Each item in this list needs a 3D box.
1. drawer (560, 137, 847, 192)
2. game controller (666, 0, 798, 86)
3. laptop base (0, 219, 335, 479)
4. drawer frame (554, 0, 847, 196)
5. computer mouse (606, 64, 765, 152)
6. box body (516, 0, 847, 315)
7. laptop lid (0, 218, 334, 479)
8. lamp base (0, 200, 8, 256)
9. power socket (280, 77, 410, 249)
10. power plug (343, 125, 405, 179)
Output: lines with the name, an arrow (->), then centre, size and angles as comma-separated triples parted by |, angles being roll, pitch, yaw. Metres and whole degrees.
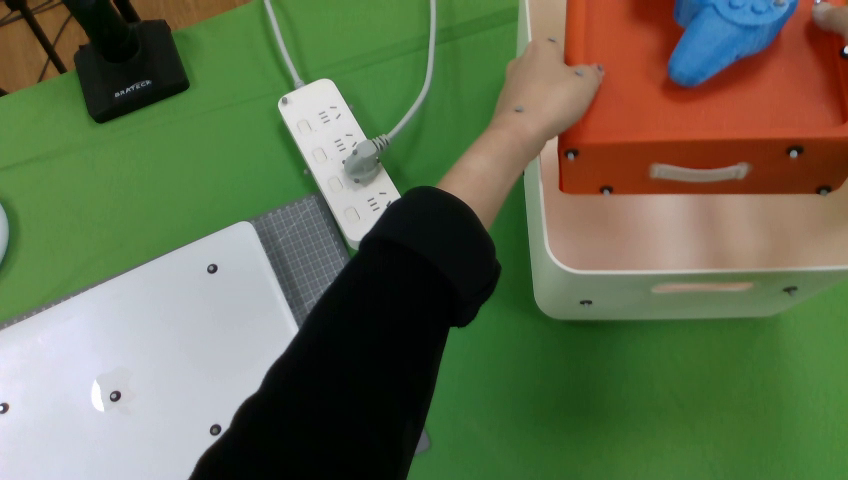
drawer -> 0.211, -0.142, 0.477 | 0.194, 0.074, 0.210 | 1, 64, 15
game controller -> 0.197, -0.193, 0.445 | 0.097, 0.052, 0.153 | -20, 63, 0
laptop base -> -0.288, 0.147, 0.586 | 0.354, 0.023, 0.234 | -26, 71, -8
drawer frame -> 0.210, -0.145, 0.476 | 0.201, 0.083, 0.212 | 1, 65, 15
computer mouse -> 0.204, -0.106, 0.478 | 0.116, 0.041, 0.062 | 7, 70, 21
box body -> 0.224, -0.113, 0.591 | 0.254, 0.161, 0.361 | -1, 67, 2
laptop lid -> -0.288, 0.144, 0.574 | 0.357, 0.013, 0.240 | -25, 70, -7
lamp base -> -0.549, -0.031, 0.589 | 0.178, 0.182, 0.160 | 22, 69, 15
power socket -> -0.090, -0.090, 0.669 | 0.072, 0.033, 0.225 | -26, 68, -10
power plug -> -0.050, -0.086, 0.641 | 0.072, 0.053, 0.035 | -15, 65, -6
